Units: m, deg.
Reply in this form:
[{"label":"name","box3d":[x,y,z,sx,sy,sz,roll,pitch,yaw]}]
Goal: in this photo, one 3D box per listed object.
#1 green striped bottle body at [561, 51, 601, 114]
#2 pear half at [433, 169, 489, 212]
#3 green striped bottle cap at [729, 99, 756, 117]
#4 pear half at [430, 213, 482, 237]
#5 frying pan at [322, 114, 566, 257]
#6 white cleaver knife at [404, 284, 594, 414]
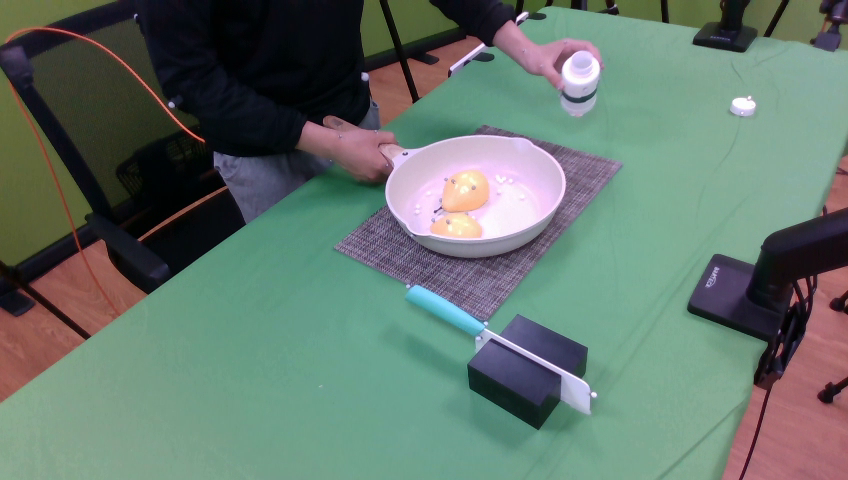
[{"label":"green striped bottle body","box3d":[0.274,-0.278,1.060,0.063,0.120,0.063,-3,69,9]},{"label":"pear half","box3d":[0.057,-0.083,1.024,0.110,0.056,0.075,-34,42,-25]},{"label":"green striped bottle cap","box3d":[0.623,-0.259,1.182,0.044,0.020,0.044,-3,40,3]},{"label":"pear half","box3d":[0.050,-0.024,0.973,0.087,0.031,0.070,14,41,18]},{"label":"frying pan","box3d":[0.004,-0.121,1.039,0.484,0.103,0.308,31,52,25]},{"label":"white cleaver knife","box3d":[0.084,0.135,0.764,0.284,0.066,0.021,28,46,31]}]
